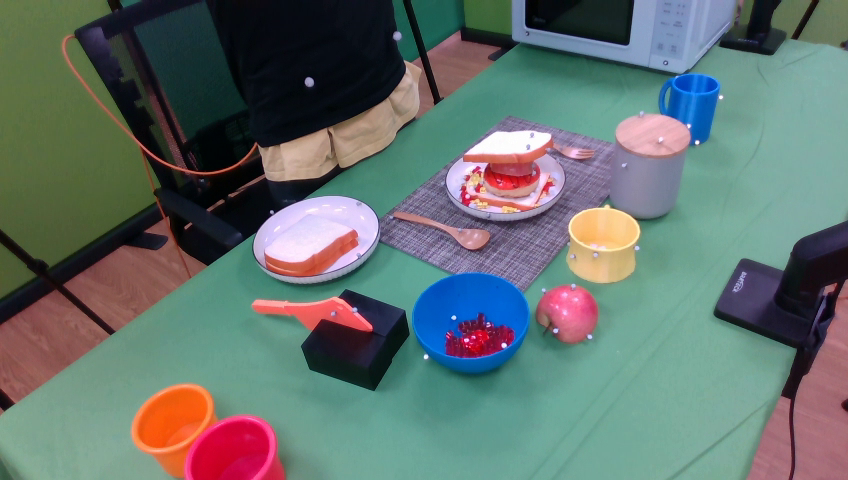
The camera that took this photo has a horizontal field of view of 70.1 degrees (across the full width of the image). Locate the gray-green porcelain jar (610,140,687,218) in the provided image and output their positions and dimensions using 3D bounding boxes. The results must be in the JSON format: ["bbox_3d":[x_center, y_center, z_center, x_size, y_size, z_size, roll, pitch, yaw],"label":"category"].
[{"bbox_3d":[0.354,-0.107,0.964,0.106,0.127,0.105,-4,41,4],"label":"gray-green porcelain jar"}]

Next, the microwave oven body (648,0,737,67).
[{"bbox_3d":[0.475,-0.602,1.411,0.438,0.261,0.327,23,50,32],"label":"microwave oven body"}]

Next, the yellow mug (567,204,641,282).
[{"bbox_3d":[0.268,-0.005,0.904,0.099,0.064,0.130,7,42,15],"label":"yellow mug"}]

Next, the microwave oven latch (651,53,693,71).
[{"bbox_3d":[0.532,-0.386,1.301,0.078,0.029,0.030,27,52,34],"label":"microwave oven latch"}]

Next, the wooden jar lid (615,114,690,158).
[{"bbox_3d":[0.347,-0.155,0.923,0.108,0.021,0.108,-3,44,4],"label":"wooden jar lid"}]

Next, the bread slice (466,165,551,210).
[{"bbox_3d":[0.141,-0.093,1.041,0.133,0.018,0.107,8,42,20],"label":"bread slice"}]

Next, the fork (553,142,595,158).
[{"bbox_3d":[0.225,-0.186,1.151,0.206,0.019,0.028,21,59,27],"label":"fork"}]

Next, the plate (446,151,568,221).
[{"bbox_3d":[0.143,-0.097,1.045,0.207,0.039,0.206,-4,41,4],"label":"plate"}]

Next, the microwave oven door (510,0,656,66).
[{"bbox_3d":[0.350,-0.539,1.349,0.353,0.245,0.039,24,50,31],"label":"microwave oven door"}]

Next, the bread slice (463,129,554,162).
[{"bbox_3d":[0.143,-0.154,0.974,0.130,0.019,0.105,9,35,38],"label":"bread slice"}]

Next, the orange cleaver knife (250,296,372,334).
[{"bbox_3d":[-0.159,0.103,0.828,0.210,0.078,0.012,-3,43,39],"label":"orange cleaver knife"}]

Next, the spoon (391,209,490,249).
[{"bbox_3d":[0.023,-0.025,0.989,0.192,0.022,0.041,20,71,28],"label":"spoon"}]

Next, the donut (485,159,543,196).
[{"bbox_3d":[0.151,-0.112,1.018,0.099,0.048,0.098,-4,40,4],"label":"donut"}]

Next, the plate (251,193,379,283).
[{"bbox_3d":[-0.174,-0.001,0.985,0.209,0.038,0.208,-4,41,4],"label":"plate"}]

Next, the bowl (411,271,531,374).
[{"bbox_3d":[0.062,0.119,0.780,0.151,0.077,0.150,-4,40,4],"label":"bowl"}]

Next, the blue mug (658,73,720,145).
[{"bbox_3d":[0.483,-0.250,1.127,0.082,0.106,0.115,-25,44,-19],"label":"blue mug"}]

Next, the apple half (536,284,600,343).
[{"bbox_3d":[0.196,0.090,0.815,0.075,0.053,0.080,-22,42,-20],"label":"apple half"}]
